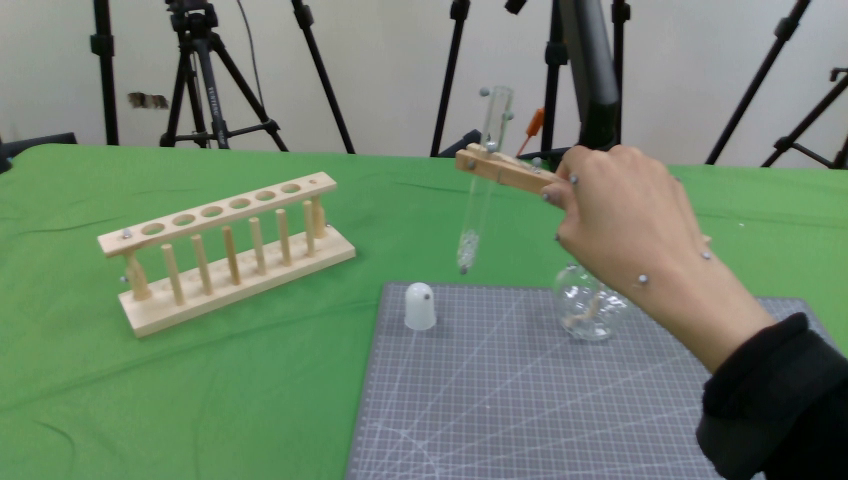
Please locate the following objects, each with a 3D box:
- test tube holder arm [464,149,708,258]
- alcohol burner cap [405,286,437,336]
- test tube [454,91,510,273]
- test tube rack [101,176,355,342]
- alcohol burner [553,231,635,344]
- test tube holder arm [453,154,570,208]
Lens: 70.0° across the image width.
[{"bbox_3d":[0.101,-0.028,0.408,0.177,0.015,0.013,25,41,28],"label":"test tube holder arm"},{"bbox_3d":[-0.003,0.067,0.601,0.034,0.048,0.033,0,34,0],"label":"alcohol burner cap"},{"bbox_3d":[0.041,-0.037,0.447,0.017,0.151,0.017,6,34,-4],"label":"test tube"},{"bbox_3d":[-0.197,0.013,0.648,0.243,0.086,0.066,-21,39,-29],"label":"test tube rack"},{"bbox_3d":[0.165,0.040,0.578,0.078,0.120,0.077,1,36,0],"label":"alcohol burner"},{"bbox_3d":[0.061,-0.042,0.424,0.087,0.015,0.010,20,39,22],"label":"test tube holder arm"}]
